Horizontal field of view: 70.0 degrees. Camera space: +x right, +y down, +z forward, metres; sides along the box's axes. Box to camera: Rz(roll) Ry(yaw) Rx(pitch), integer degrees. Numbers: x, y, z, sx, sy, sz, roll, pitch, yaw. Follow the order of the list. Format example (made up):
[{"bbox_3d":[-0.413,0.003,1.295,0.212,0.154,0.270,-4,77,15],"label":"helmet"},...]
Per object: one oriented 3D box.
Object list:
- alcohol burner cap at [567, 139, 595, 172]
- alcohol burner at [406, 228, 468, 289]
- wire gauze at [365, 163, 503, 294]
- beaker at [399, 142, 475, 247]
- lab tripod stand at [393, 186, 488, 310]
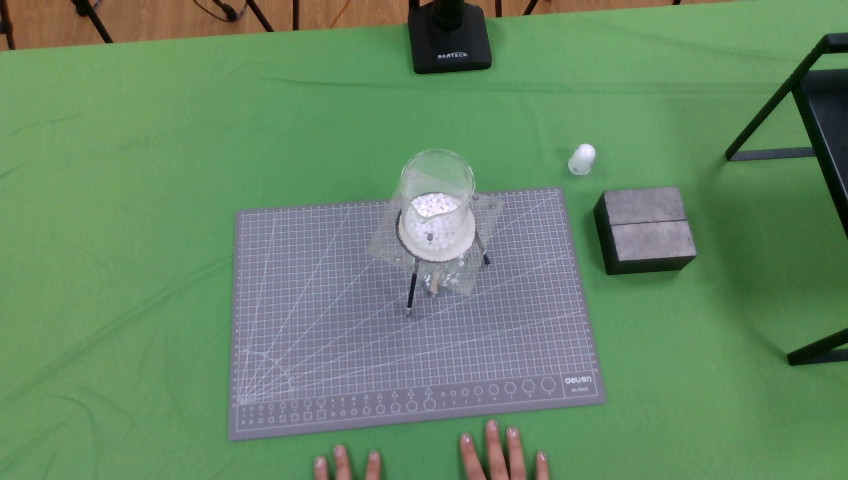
[{"bbox_3d":[0.221,-0.120,0.846,0.034,0.048,0.033,0,66,0],"label":"alcohol burner cap"},{"bbox_3d":[0.017,0.016,0.740,0.078,0.120,0.077,1,68,-3],"label":"alcohol burner"},{"bbox_3d":[0.013,-0.018,0.672,0.125,0.011,0.121,23,69,5],"label":"wire gauze"},{"bbox_3d":[0.010,-0.039,0.628,0.074,0.101,0.083,18,67,6],"label":"beaker"},{"bbox_3d":[0.013,0.002,0.734,0.148,0.132,0.147,1,65,-2],"label":"lab tripod stand"}]
